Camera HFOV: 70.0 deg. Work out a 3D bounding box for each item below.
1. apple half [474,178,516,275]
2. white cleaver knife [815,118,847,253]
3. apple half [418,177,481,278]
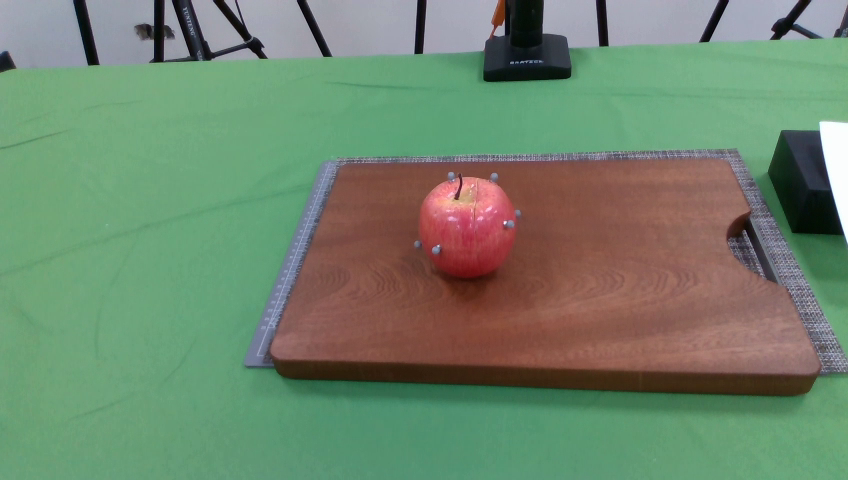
[{"bbox_3d":[0.060,-0.011,0.500,0.033,0.082,0.080,-3,41,11],"label":"apple half"},{"bbox_3d":[0.375,0.002,0.491,0.065,0.022,0.284,1,53,14],"label":"white cleaver knife"},{"bbox_3d":[0.022,-0.010,0.506,0.053,0.075,0.080,-3,43,11],"label":"apple half"}]
